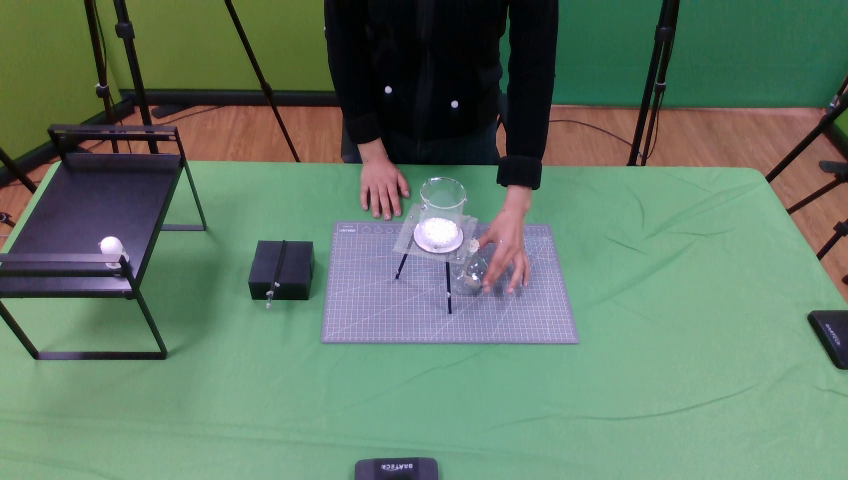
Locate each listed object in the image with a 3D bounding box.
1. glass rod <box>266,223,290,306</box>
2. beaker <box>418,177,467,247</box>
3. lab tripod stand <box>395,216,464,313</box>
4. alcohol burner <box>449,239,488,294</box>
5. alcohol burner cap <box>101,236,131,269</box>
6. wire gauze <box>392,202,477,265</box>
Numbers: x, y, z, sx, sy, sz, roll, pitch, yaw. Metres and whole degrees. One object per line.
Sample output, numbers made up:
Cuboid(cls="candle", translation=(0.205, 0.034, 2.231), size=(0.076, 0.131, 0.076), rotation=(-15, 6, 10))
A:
Cuboid(cls="glass rod", translation=(-0.260, 0.039, 1.083), size=(0.008, 0.008, 0.198), rotation=(3, 46, -1))
Cuboid(cls="beaker", translation=(0.026, -0.045, 1.004), size=(0.074, 0.101, 0.083), rotation=(-20, 51, -23))
Cuboid(cls="lab tripod stand", translation=(0.023, 0.037, 1.083), size=(0.148, 0.132, 0.147), rotation=(3, 47, -3))
Cuboid(cls="alcohol burner", translation=(0.080, 0.042, 1.097), size=(0.078, 0.119, 0.077), rotation=(3, 44, -3))
Cuboid(cls="alcohol burner cap", translation=(-0.452, 0.016, 0.883), size=(0.034, 0.048, 0.033), rotation=(2, 47, -1))
Cuboid(cls="wire gauze", translation=(0.020, -0.011, 1.038), size=(0.121, 0.011, 0.124), rotation=(13, 49, 8))
